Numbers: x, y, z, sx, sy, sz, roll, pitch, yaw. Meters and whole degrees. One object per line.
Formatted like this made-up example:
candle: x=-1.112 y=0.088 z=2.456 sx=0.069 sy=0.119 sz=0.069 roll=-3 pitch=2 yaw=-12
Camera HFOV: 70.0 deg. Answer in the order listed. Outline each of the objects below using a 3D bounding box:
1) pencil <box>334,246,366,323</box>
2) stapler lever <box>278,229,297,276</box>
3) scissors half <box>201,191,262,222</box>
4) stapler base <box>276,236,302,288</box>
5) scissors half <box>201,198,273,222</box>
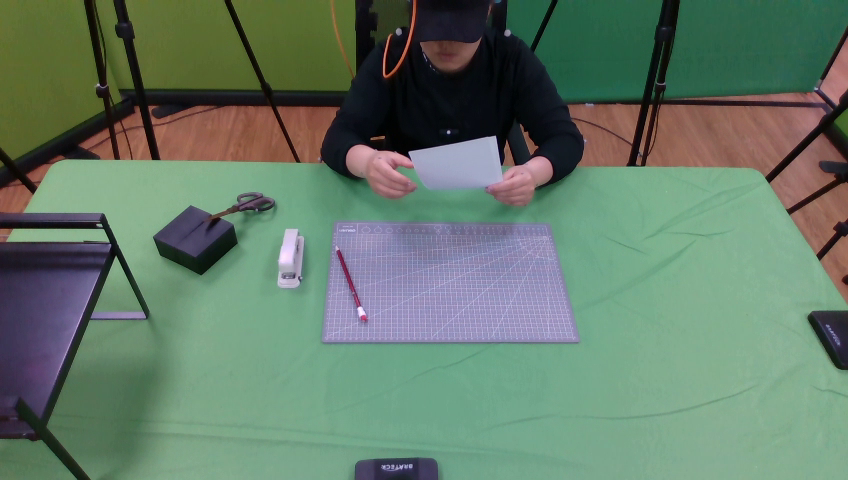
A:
pencil: x=-0.140 y=0.076 z=1.116 sx=0.012 sy=0.012 sz=0.192 roll=-14 pitch=48 yaw=-17
stapler lever: x=-0.254 y=0.016 z=1.128 sx=0.027 sy=0.040 sz=0.117 roll=1 pitch=45 yaw=-7
scissors half: x=-0.381 y=-0.066 z=1.198 sx=0.040 sy=0.013 sz=0.175 roll=25 pitch=28 yaw=9
stapler base: x=-0.254 y=0.034 z=1.144 sx=0.041 sy=0.024 sz=0.129 roll=1 pitch=44 yaw=-7
scissors half: x=-0.365 y=-0.055 z=1.192 sx=0.040 sy=0.013 sz=0.175 roll=39 pitch=32 yaw=22
